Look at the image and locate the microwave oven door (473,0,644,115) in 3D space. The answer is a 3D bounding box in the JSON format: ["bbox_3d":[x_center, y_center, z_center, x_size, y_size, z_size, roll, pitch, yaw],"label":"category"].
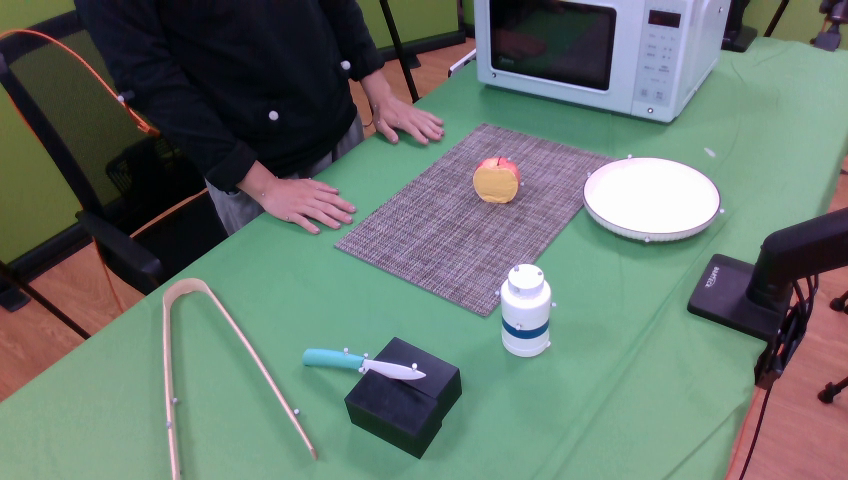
[{"bbox_3d":[0.257,-0.396,1.199,0.353,0.245,0.039,21,48,29],"label":"microwave oven door"}]

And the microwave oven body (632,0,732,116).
[{"bbox_3d":[0.377,-0.462,1.267,0.438,0.261,0.327,21,48,30],"label":"microwave oven body"}]

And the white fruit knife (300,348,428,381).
[{"bbox_3d":[-0.079,0.154,0.748,0.206,0.027,0.016,1,20,34],"label":"white fruit knife"}]

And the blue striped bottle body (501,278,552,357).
[{"bbox_3d":[0.130,0.088,0.769,0.063,0.121,0.063,-4,41,4],"label":"blue striped bottle body"}]

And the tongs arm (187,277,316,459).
[{"bbox_3d":[-0.241,0.154,0.816,0.028,0.028,0.384,-31,46,-21],"label":"tongs arm"}]

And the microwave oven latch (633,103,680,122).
[{"bbox_3d":[0.444,-0.249,1.157,0.078,0.029,0.030,20,48,30],"label":"microwave oven latch"}]

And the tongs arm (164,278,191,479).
[{"bbox_3d":[-0.313,0.182,0.789,0.051,0.026,0.381,-19,41,-14],"label":"tongs arm"}]

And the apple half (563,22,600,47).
[{"bbox_3d":[0.334,-0.446,1.299,0.081,0.033,0.081,-15,37,13],"label":"apple half"}]

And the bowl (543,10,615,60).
[{"bbox_3d":[0.335,-0.439,1.306,0.151,0.077,0.151,-8,30,5],"label":"bowl"}]

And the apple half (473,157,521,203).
[{"bbox_3d":[0.128,-0.107,1.030,0.080,0.075,0.053,4,38,19],"label":"apple half"}]

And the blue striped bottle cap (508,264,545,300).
[{"bbox_3d":[0.125,0.050,0.735,0.044,0.021,0.044,-6,39,5],"label":"blue striped bottle cap"}]

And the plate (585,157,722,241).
[{"bbox_3d":[0.367,-0.063,0.979,0.207,0.039,0.206,-4,40,4],"label":"plate"}]
